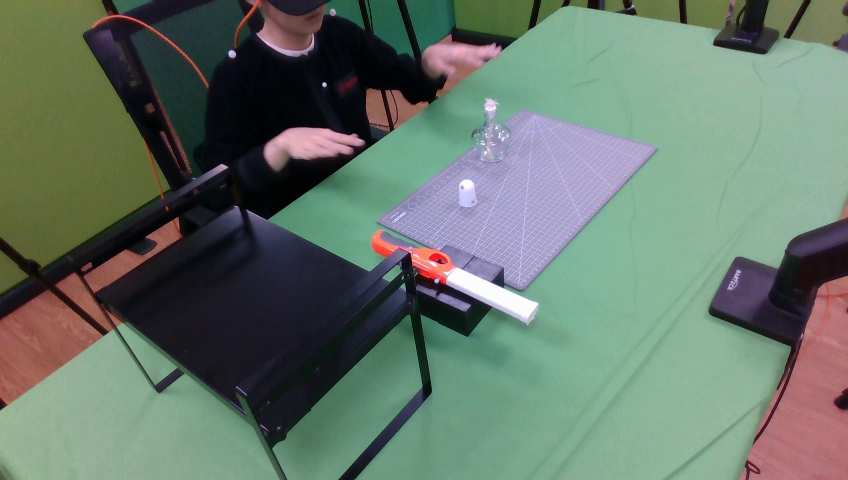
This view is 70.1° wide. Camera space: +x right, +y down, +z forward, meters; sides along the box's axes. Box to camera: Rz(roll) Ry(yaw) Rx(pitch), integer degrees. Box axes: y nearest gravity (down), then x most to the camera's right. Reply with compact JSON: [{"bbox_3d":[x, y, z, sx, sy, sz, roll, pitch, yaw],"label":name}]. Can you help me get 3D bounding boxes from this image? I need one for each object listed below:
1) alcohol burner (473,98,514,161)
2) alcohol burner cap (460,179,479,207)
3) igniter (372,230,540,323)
[{"bbox_3d":[0.127,-0.208,1.123,0.078,0.119,0.077,-5,39,5],"label":"alcohol burner"},{"bbox_3d":[0.078,-0.083,1.041,0.034,0.048,0.033,-5,42,5],"label":"alcohol burner cap"},{"bbox_3d":[0.032,0.045,0.842,0.274,0.025,0.057,24,47,28],"label":"igniter"}]
